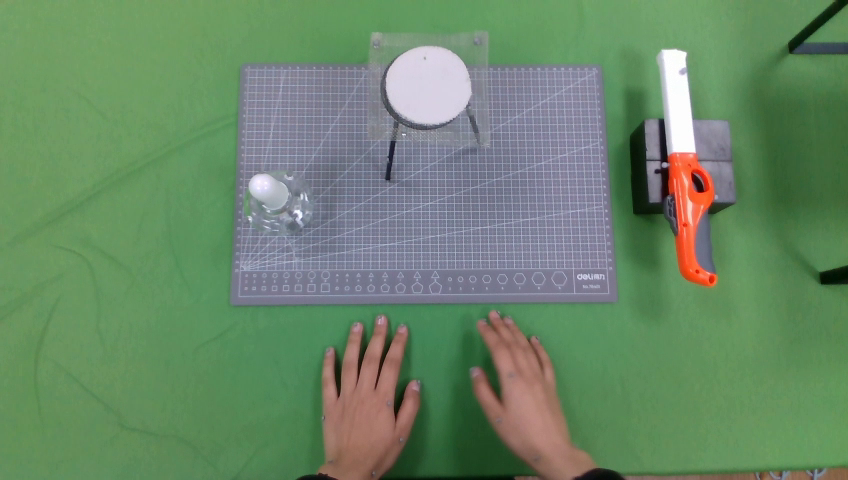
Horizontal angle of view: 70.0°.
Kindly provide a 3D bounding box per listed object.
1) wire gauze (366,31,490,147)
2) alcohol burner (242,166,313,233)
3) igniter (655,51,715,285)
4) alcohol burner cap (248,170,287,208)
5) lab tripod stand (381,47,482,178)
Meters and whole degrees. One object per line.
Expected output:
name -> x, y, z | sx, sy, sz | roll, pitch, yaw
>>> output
wire gauze -> 0.005, -0.155, 0.610 | 0.125, 0.011, 0.121 | 2, 79, -1
alcohol burner -> -0.164, -0.048, 0.662 | 0.078, 0.119, 0.077 | 0, 80, 0
igniter -> 0.292, -0.085, 0.684 | 0.057, 0.025, 0.275 | 0, 77, -4
alcohol burner cap -> -0.165, -0.054, 0.627 | 0.034, 0.048, 0.033 | -1, 78, 6
lab tripod stand -> -0.003, -0.146, 0.677 | 0.148, 0.132, 0.147 | 0, 79, 0
